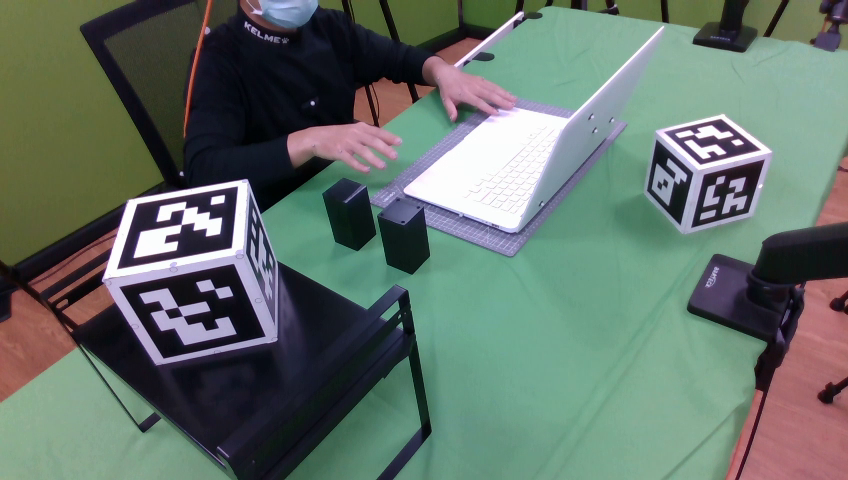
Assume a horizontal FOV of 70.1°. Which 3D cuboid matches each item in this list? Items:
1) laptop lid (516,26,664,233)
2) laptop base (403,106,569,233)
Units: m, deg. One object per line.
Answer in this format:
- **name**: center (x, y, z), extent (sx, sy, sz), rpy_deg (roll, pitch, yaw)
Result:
- **laptop lid**: center (0.268, -0.178, 0.966), extent (0.013, 0.242, 0.357), rpy_deg (35, 52, 16)
- **laptop base**: center (0.156, -0.144, 1.116), extent (0.233, 0.023, 0.355), rpy_deg (20, 47, 32)
